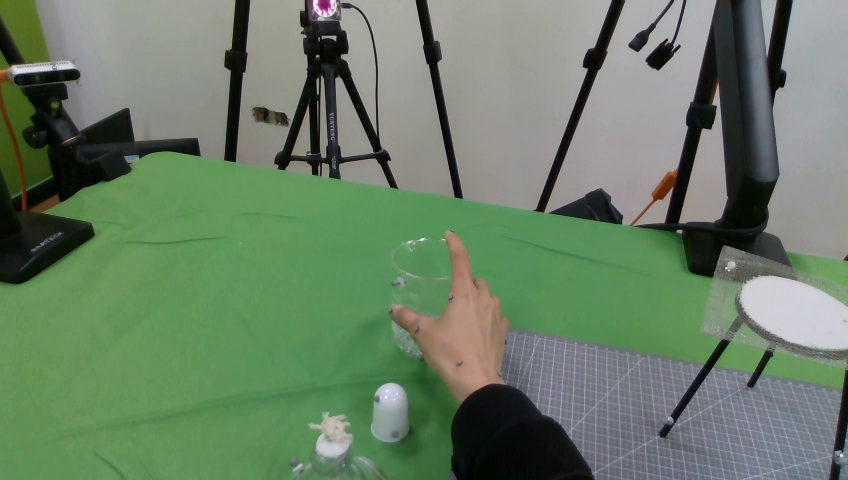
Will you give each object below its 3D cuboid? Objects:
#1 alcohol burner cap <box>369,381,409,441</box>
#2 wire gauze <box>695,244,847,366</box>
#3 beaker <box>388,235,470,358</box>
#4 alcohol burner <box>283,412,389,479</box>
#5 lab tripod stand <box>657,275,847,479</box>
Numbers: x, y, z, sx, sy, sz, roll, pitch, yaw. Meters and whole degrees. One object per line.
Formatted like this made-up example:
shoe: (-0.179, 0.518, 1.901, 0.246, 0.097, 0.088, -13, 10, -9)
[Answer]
alcohol burner cap: (-0.029, 0.138, 0.498, 0.034, 0.048, 0.033, 2, 32, -1)
wire gauze: (0.271, 0.049, 0.446, 0.121, 0.011, 0.125, 18, 34, 22)
beaker: (0.000, 0.054, 0.582, 0.074, 0.101, 0.083, -16, 35, -28)
alcohol burner: (-0.059, 0.158, 0.392, 0.078, 0.120, 0.077, 1, 31, 0)
lab tripod stand: (0.275, 0.108, 0.479, 0.148, 0.132, 0.147, 4, 32, -2)
